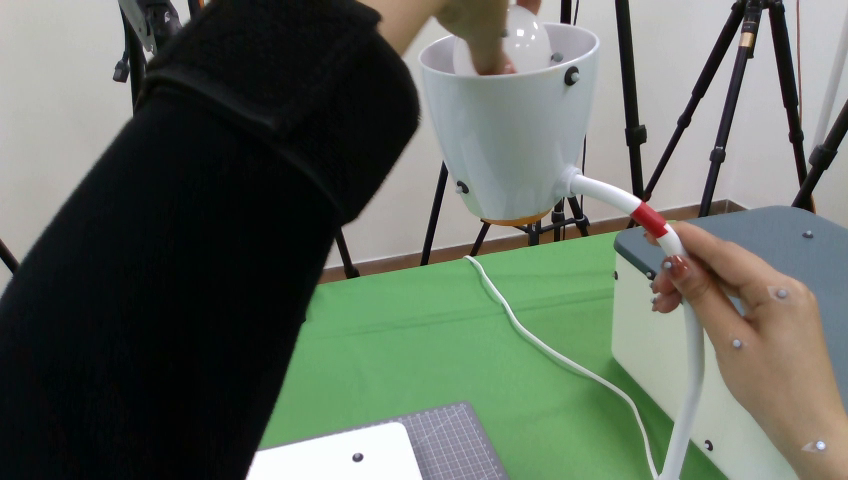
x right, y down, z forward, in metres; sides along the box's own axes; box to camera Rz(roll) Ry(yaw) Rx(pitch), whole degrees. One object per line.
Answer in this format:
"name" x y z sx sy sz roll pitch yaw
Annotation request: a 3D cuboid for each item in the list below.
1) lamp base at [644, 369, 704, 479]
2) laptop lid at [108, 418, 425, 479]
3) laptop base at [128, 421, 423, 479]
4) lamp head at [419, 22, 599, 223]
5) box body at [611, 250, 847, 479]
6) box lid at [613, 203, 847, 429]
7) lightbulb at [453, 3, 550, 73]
"lamp base" 0.169 0.193 0.437 0.160 0.181 0.179 10 27 20
"laptop lid" -0.160 0.259 0.484 0.357 0.013 0.239 -8 29 -12
"laptop base" -0.161 0.269 0.491 0.355 0.023 0.233 -9 31 -13
"lamp head" 0.062 -0.072 0.401 0.112 0.124 0.111 -10 29 6
"box body" 0.380 0.119 0.591 0.255 0.161 0.360 -10 28 -15
"box lid" 0.377 0.052 0.559 0.264 0.015 0.367 -9 28 -15
"lightbulb" 0.051 -0.095 0.388 0.059 0.108 0.059 -6 33 4
